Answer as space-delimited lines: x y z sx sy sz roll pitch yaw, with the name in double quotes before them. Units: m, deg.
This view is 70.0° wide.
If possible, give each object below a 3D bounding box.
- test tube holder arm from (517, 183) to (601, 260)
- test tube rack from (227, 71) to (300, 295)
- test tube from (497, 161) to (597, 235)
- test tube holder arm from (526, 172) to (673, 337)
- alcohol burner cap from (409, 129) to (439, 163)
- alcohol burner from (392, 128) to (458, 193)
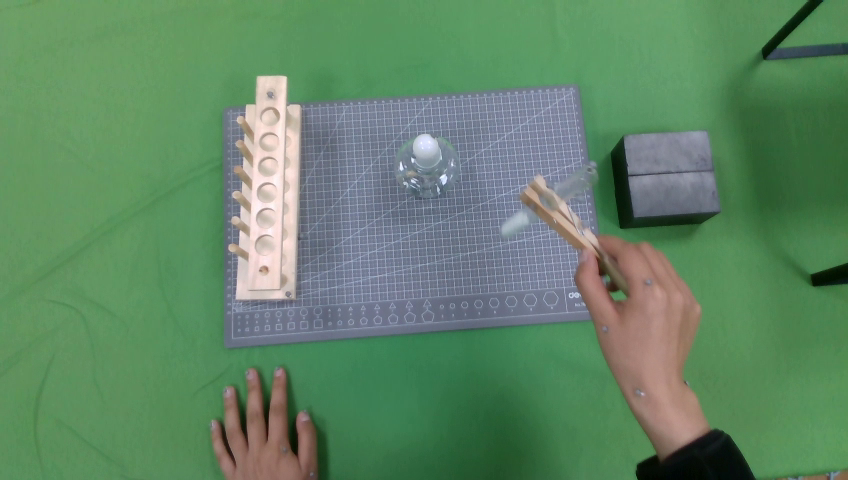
"test tube holder arm" 0.114 -0.015 0.508 0.088 0.015 0.010 40 66 -6
"test tube rack" -0.187 -0.063 0.694 0.067 0.085 0.241 0 78 -1
"test tube" 0.098 -0.031 0.515 0.017 0.150 0.017 5 72 -18
"test tube holder arm" 0.150 0.013 0.513 0.178 0.015 0.013 47 66 -3
"alcohol burner cap" 0.000 -0.104 0.655 0.034 0.048 0.034 0 83 1
"alcohol burner" 0.001 -0.096 0.690 0.078 0.119 0.077 0 79 0
